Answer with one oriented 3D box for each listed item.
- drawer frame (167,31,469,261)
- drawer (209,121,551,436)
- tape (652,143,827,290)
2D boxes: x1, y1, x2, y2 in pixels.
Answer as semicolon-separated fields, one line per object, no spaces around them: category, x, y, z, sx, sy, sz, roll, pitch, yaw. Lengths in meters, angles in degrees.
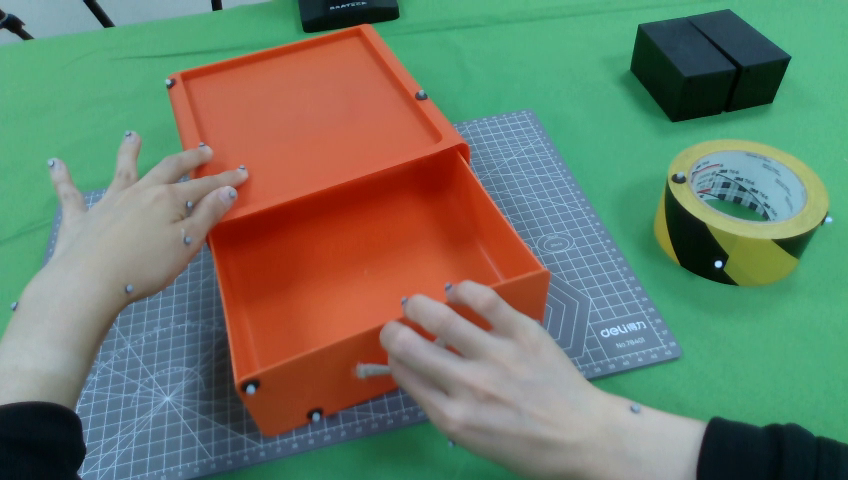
drawer frame;-0.096;-0.078;0.519;0.202;0.083;0.211;-21;48;-14
drawer;-0.046;0.006;0.436;0.195;0.074;0.209;-19;49;-12
tape;0.236;-0.021;0.464;0.117;0.053;0.115;-2;46;2
